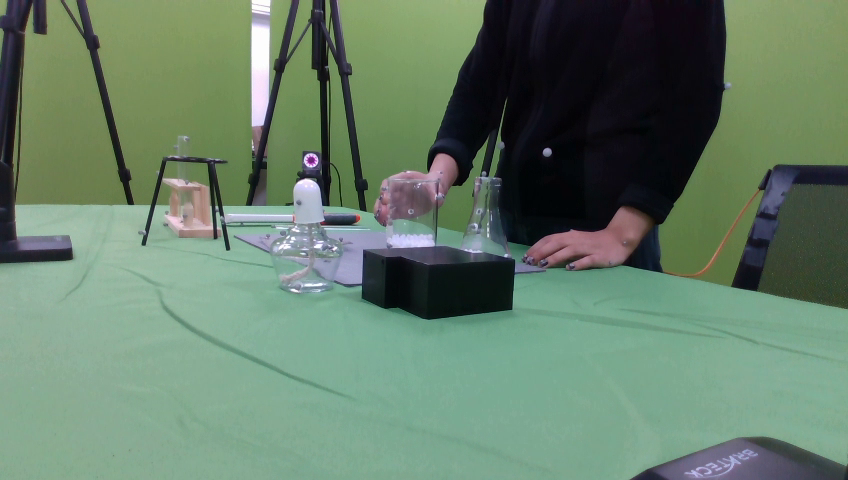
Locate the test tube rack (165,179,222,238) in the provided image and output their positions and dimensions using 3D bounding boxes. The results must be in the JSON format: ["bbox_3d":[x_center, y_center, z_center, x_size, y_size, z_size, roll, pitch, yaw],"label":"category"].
[{"bbox_3d":[-0.423,-0.062,1.098,0.067,0.085,0.241,-2,9,-28],"label":"test tube rack"}]

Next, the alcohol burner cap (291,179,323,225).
[{"bbox_3d":[-0.124,-0.040,0.632,0.034,0.048,0.034,-3,10,1],"label":"alcohol burner cap"}]

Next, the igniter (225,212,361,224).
[{"bbox_3d":[-0.262,-0.044,1.240,0.278,0.025,0.057,-2,-1,-31],"label":"igniter"}]

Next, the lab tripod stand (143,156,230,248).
[{"bbox_3d":[-0.338,-0.058,0.908,0.148,0.131,0.148,4,7,0],"label":"lab tripod stand"}]

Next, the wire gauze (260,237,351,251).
[{"bbox_3d":[-0.185,0.004,0.938,0.122,0.011,0.124,-1,5,-24],"label":"wire gauze"}]

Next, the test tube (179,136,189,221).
[{"bbox_3d":[-0.425,-0.108,1.070,0.017,0.150,0.017,4,9,0],"label":"test tube"}]

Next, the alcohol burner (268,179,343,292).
[{"bbox_3d":[-0.124,-0.005,0.637,0.078,0.119,0.078,4,8,0],"label":"alcohol burner"}]

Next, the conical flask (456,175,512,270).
[{"bbox_3d":[0.082,-0.025,0.801,0.075,0.122,0.075,2,7,0],"label":"conical flask"}]

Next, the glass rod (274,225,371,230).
[{"bbox_3d":[-0.193,-0.024,1.177,0.201,0.008,0.008,1,7,-31],"label":"glass rod"}]

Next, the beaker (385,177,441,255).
[{"bbox_3d":[-0.015,-0.034,0.813,0.074,0.100,0.084,3,7,8],"label":"beaker"}]
